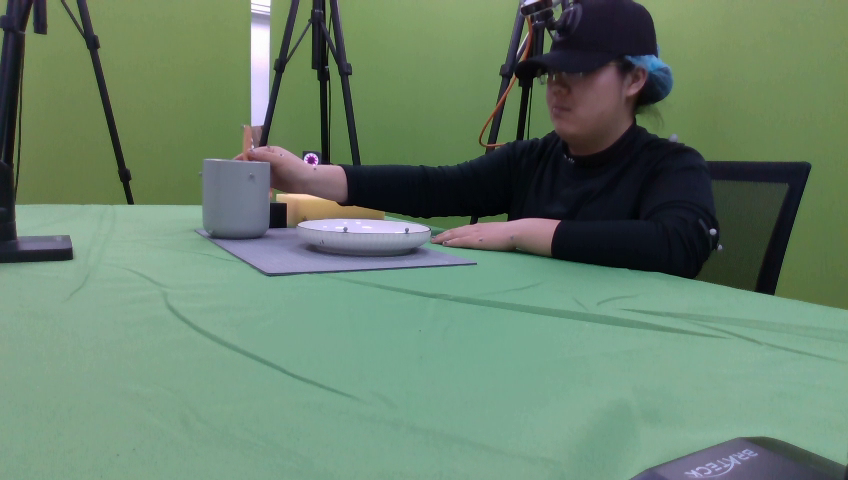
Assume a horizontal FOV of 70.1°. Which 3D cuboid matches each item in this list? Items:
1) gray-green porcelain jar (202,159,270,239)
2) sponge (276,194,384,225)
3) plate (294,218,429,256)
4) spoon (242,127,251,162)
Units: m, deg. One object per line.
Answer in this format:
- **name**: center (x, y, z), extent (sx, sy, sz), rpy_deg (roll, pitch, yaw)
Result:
- **gray-green porcelain jar**: center (-0.310, -0.068, 0.999), extent (0.106, 0.126, 0.106), rpy_deg (3, 8, 0)
- **sponge**: center (-0.203, -0.066, 1.312), extent (0.208, 0.061, 0.117), rpy_deg (-2, 8, -35)
- **plate**: center (-0.096, -0.005, 0.936), extent (0.208, 0.039, 0.207), rpy_deg (3, 7, 0)
- **spoon**: center (-0.303, -0.110, 1.027), extent (0.042, 0.193, 0.021), rpy_deg (1, -19, -11)
